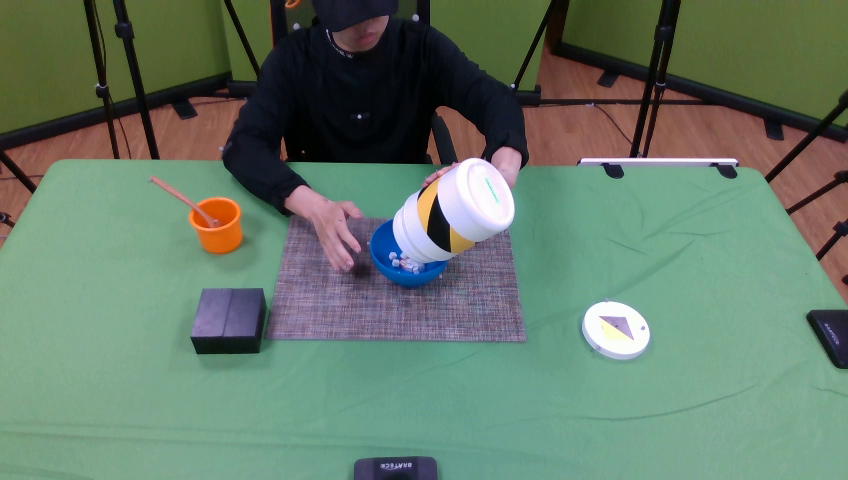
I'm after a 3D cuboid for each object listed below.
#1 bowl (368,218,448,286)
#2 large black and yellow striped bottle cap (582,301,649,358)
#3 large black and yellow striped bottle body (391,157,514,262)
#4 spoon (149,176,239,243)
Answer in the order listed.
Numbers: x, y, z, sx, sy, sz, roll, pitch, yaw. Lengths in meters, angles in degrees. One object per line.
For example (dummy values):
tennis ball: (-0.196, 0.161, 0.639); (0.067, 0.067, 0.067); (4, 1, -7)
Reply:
bowl: (-0.028, 0.033, 1.119); (0.151, 0.077, 0.150); (2, 46, -2)
large black and yellow striped bottle cap: (0.340, 0.157, 1.077); (0.115, 0.019, 0.114); (1, 47, -1)
large black and yellow striped bottle body: (0.043, -0.044, 1.019); (0.131, 0.184, 0.130); (25, 51, -35)
spoon: (-0.427, -0.057, 1.132); (0.021, 0.194, 0.041); (-28, 30, 33)
